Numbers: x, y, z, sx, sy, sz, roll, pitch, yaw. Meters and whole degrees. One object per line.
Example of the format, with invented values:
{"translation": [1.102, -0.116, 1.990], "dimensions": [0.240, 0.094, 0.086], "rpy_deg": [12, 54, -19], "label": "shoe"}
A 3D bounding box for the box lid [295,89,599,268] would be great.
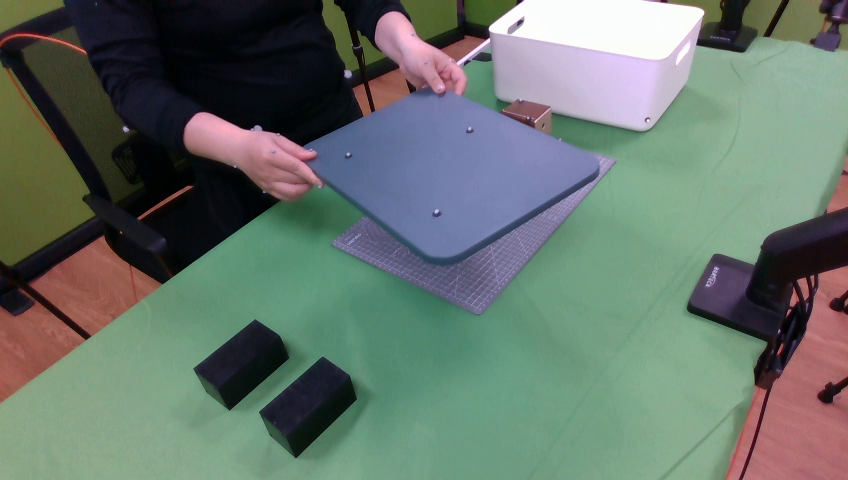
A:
{"translation": [0.015, -0.103, 0.798], "dimensions": [0.264, 0.015, 0.368], "rpy_deg": [-31, 42, -23], "label": "box lid"}

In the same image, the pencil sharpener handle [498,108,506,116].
{"translation": [0.142, -0.216, 1.114], "dimensions": [0.030, 0.068, 0.036], "rpy_deg": [23, 44, 32], "label": "pencil sharpener handle"}

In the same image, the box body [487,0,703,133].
{"translation": [0.346, -0.374, 1.251], "dimensions": [0.361, 0.161, 0.255], "rpy_deg": [20, 48, 29], "label": "box body"}

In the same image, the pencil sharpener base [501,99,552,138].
{"translation": [0.184, -0.191, 1.097], "dimensions": [0.076, 0.107, 0.061], "rpy_deg": [23, 50, 32], "label": "pencil sharpener base"}
